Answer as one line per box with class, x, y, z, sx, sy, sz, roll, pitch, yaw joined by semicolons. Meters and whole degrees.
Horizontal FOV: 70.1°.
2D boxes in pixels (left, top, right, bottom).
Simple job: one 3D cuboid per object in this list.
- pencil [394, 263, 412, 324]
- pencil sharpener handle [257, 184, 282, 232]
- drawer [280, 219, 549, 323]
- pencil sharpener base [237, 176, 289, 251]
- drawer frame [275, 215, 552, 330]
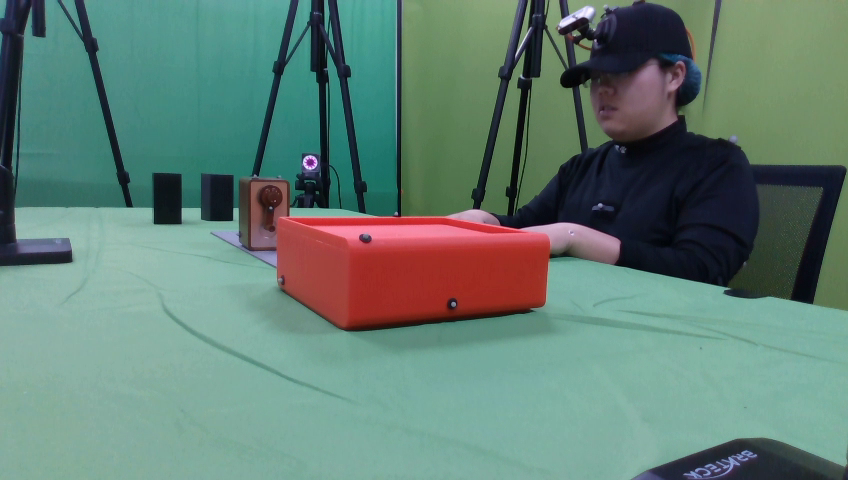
pencil;-0.021;0.052;0.614;0.012;0.012;0.194;3;12;0
pencil sharpener handle;-0.219;-0.046;0.865;0.036;0.067;0.030;6;5;-29
drawer;-0.016;0.023;0.612;0.213;0.073;0.193;-2;9;-30
pencil sharpener base;-0.243;-0.040;0.912;0.061;0.107;0.076;-1;8;-29
drawer frame;-0.017;0.022;0.610;0.215;0.082;0.200;-2;9;-31
